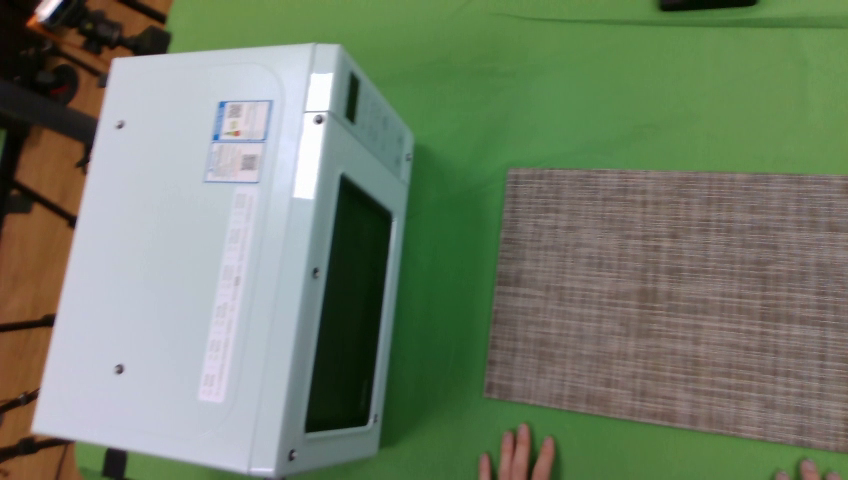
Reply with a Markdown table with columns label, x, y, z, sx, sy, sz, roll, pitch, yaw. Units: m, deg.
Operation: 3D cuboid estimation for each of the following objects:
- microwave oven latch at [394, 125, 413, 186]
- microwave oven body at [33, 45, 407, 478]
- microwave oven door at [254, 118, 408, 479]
| label | x | y | z | sx | sy | sz | roll | pitch | yaw |
| --- | --- | --- | --- | --- | --- | --- | --- | --- | --- |
| microwave oven latch | -0.033 | -0.115 | 0.824 | 0.030 | 0.030 | 0.079 | 3 | 79 | 19 |
| microwave oven body | -0.222 | 0.029 | 0.747 | 0.325 | 0.262 | 0.440 | 2 | 78 | 18 |
| microwave oven door | -0.091 | 0.074 | 0.687 | 0.039 | 0.246 | 0.354 | 2 | 77 | 19 |
